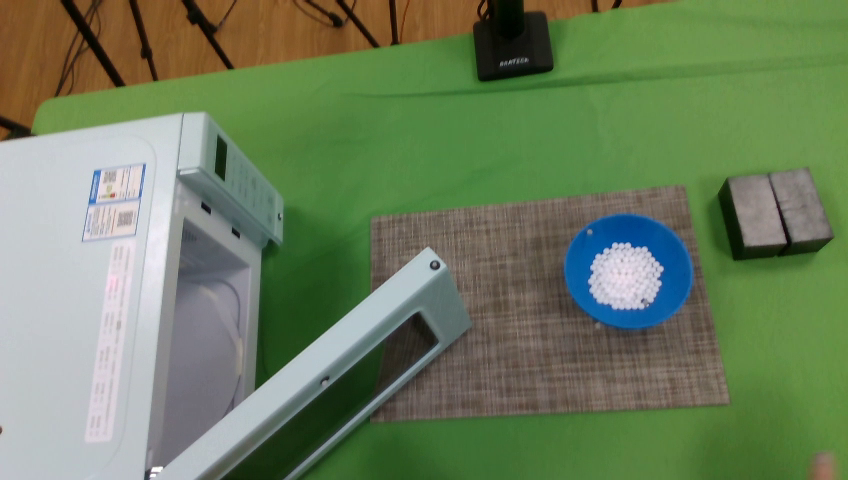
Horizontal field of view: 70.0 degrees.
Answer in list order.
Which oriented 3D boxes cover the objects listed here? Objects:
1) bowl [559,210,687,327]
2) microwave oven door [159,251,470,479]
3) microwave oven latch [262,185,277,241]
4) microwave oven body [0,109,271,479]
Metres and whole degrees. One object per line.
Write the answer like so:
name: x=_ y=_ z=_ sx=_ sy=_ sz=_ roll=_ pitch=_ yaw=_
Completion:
bowl: x=0.248 y=0.045 z=0.774 sx=0.151 sy=0.077 sz=0.150 roll=-4 pitch=69 yaw=9
microwave oven door: x=-0.103 y=0.172 z=0.685 sx=0.355 sy=0.246 sz=0.039 roll=-41 pitch=67 yaw=-7
microwave oven latch: x=-0.235 y=-0.040 z=0.901 sx=0.030 sy=0.030 sz=0.078 roll=-7 pitch=69 yaw=7
microwave oven body: x=-0.386 y=0.106 z=0.767 sx=0.326 sy=0.262 sz=0.438 roll=-7 pitch=68 yaw=7
